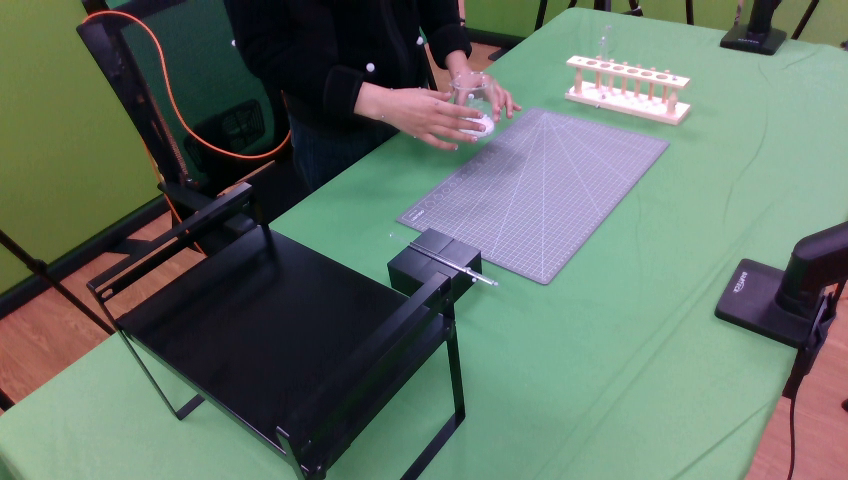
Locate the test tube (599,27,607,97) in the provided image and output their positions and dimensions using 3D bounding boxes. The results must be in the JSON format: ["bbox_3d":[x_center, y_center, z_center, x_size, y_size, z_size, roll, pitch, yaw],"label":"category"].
[{"bbox_3d":[0.358,-0.353,1.210,0.017,0.151,0.017,-8,43,8],"label":"test tube"}]

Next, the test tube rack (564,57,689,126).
[{"bbox_3d":[0.411,-0.311,1.230,0.240,0.085,0.067,23,49,32],"label":"test tube rack"}]

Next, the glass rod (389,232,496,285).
[{"bbox_3d":[0.022,0.025,0.878,0.198,0.008,0.008,25,50,33],"label":"glass rod"}]

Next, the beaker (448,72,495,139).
[{"bbox_3d":[0.087,-0.238,1.077,0.083,0.100,0.074,6,39,18],"label":"beaker"}]
